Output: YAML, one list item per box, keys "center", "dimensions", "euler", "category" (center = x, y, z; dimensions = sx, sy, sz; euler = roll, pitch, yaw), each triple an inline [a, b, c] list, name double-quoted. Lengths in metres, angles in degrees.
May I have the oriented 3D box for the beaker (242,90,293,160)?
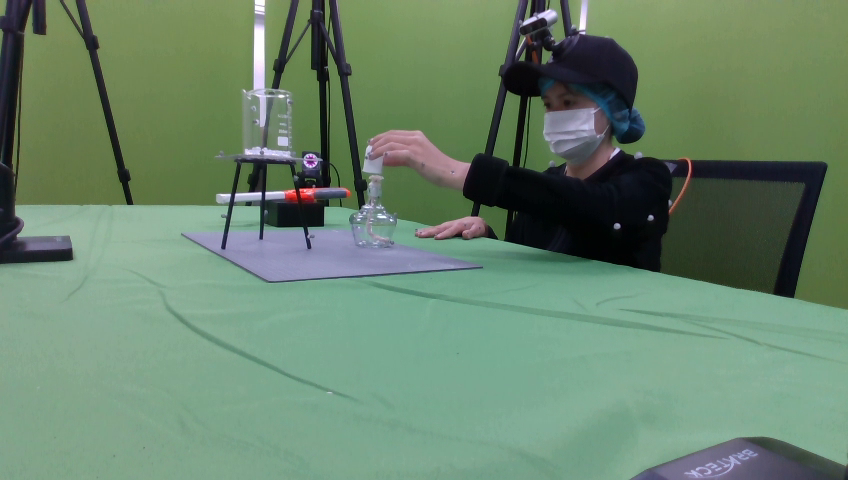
- center: [-0.235, -0.169, 0.900]
  dimensions: [0.074, 0.100, 0.084]
  euler: [4, 7, 23]
  category: "beaker"

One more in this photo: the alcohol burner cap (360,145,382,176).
- center: [-0.082, -0.126, 0.953]
  dimensions: [0.034, 0.048, 0.034]
  euler: [7, 13, -1]
  category: "alcohol burner cap"

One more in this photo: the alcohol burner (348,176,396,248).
- center: [-0.083, -0.046, 0.973]
  dimensions: [0.078, 0.119, 0.078]
  euler: [4, 5, 0]
  category: "alcohol burner"

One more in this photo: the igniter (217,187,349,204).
- center: [-0.285, -0.093, 1.256]
  dimensions: [0.278, 0.025, 0.057]
  euler: [-6, 12, -34]
  category: "igniter"

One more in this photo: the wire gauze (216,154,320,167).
- center: [-0.236, -0.121, 0.906]
  dimensions: [0.126, 0.011, 0.121]
  euler: [0, 8, -33]
  category: "wire gauze"

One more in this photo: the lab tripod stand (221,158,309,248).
- center: [-0.244, -0.057, 0.917]
  dimensions: [0.148, 0.131, 0.148]
  euler: [1, 7, 0]
  category: "lab tripod stand"
